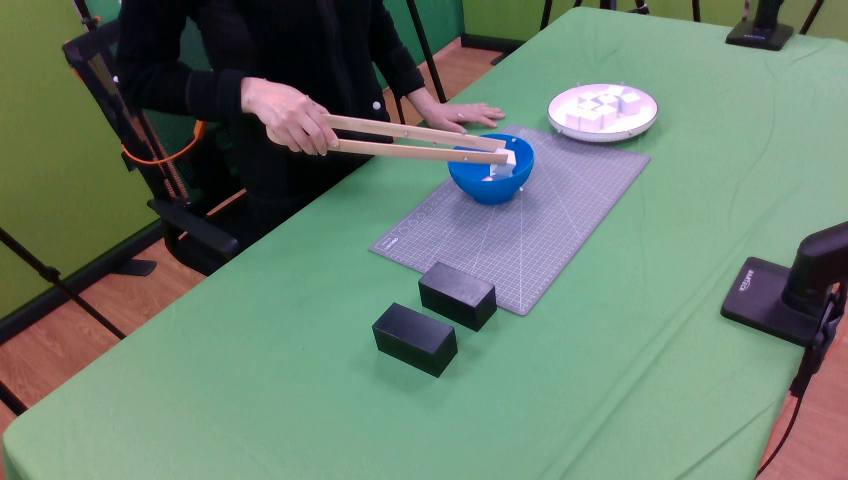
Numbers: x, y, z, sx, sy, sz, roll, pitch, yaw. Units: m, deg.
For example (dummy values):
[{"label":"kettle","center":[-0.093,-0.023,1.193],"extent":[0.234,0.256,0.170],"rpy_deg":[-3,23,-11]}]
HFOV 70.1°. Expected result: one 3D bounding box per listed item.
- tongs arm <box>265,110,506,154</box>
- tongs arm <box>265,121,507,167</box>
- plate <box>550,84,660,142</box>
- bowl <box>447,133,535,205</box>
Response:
[{"label":"tongs arm","center":[-0.058,-0.167,0.978],"extent":[0.385,0.026,0.050],"rpy_deg":[9,52,-2]},{"label":"tongs arm","center":[-0.059,-0.148,0.963],"extent":[0.388,0.028,0.028],"rpy_deg":[6,56,-5]},{"label":"plate","center":[0.355,-0.246,1.195],"extent":[0.207,0.039,0.206],"rpy_deg":[-5,39,5]},{"label":"bowl","center":[0.119,-0.114,1.051],"extent":[0.151,0.077,0.150],"rpy_deg":[-6,40,5]}]
